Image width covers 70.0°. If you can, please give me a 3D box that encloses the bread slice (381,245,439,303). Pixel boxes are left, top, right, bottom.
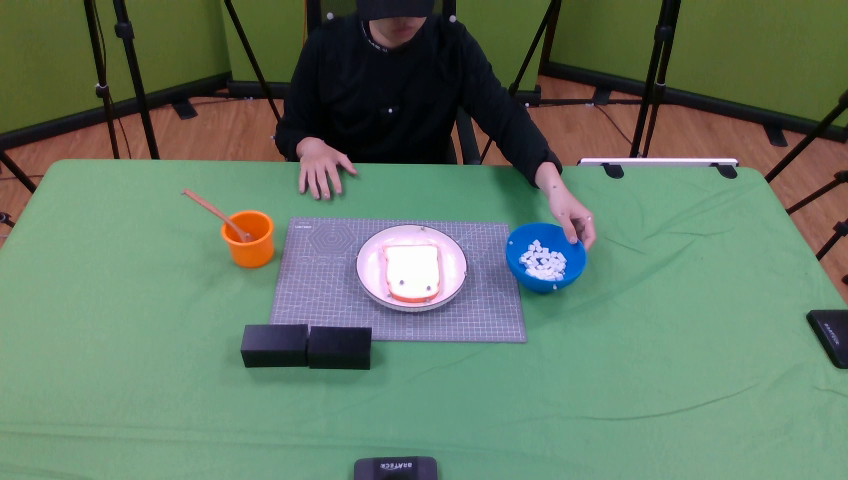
[{"bbox_3d":[-0.022,0.061,1.126,0.107,0.018,0.133,-3,45,-8],"label":"bread slice"}]

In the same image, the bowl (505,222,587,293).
[{"bbox_3d":[0.221,0.045,1.132,0.151,0.077,0.150,2,46,-2],"label":"bowl"}]

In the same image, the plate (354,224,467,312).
[{"bbox_3d":[-0.025,0.055,1.128,0.209,0.038,0.208,3,46,-2],"label":"plate"}]

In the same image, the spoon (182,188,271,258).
[{"bbox_3d":[-0.361,-0.032,1.113,0.021,0.194,0.041,-27,30,34],"label":"spoon"}]
